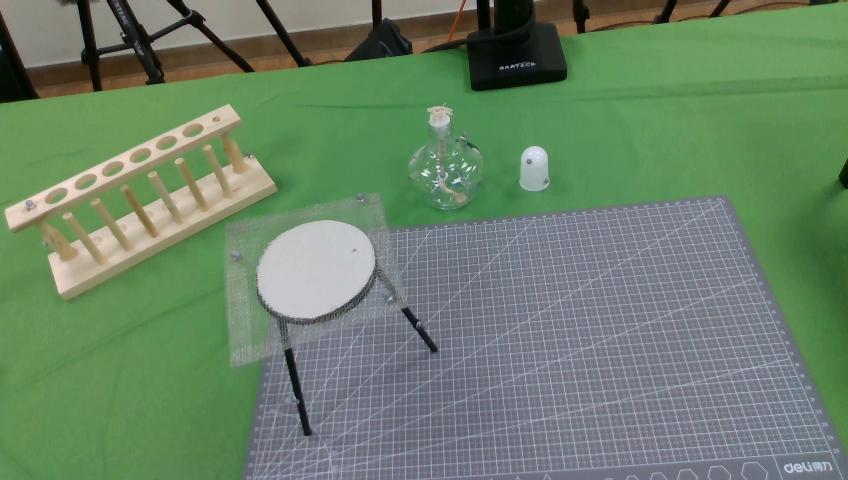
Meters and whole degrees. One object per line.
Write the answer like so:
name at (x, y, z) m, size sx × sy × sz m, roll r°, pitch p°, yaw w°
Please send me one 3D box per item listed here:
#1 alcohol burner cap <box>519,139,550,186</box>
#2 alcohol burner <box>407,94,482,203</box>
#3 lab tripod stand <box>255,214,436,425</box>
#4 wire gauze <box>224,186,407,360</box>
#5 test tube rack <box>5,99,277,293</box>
alcohol burner cap at (0.116, -0.083, 0.633) m, size 0.034 × 0.048 × 0.033 m, roll -5°, pitch 51°, yaw 7°
alcohol burner at (0.019, -0.095, 0.610) m, size 0.078 × 0.120 × 0.077 m, roll -5°, pitch 48°, yaw 5°
lab tripod stand at (-0.070, 0.059, 0.481) m, size 0.148 × 0.133 × 0.147 m, roll -4°, pitch 52°, yaw 5°
wire gauze at (-0.081, 0.015, 0.431) m, size 0.121 × 0.011 × 0.123 m, roll -15°, pitch 51°, yaw -3°
test tube rack at (-0.290, -0.050, 0.641) m, size 0.242 × 0.086 × 0.066 m, roll -31°, pitch 53°, yaw -16°
